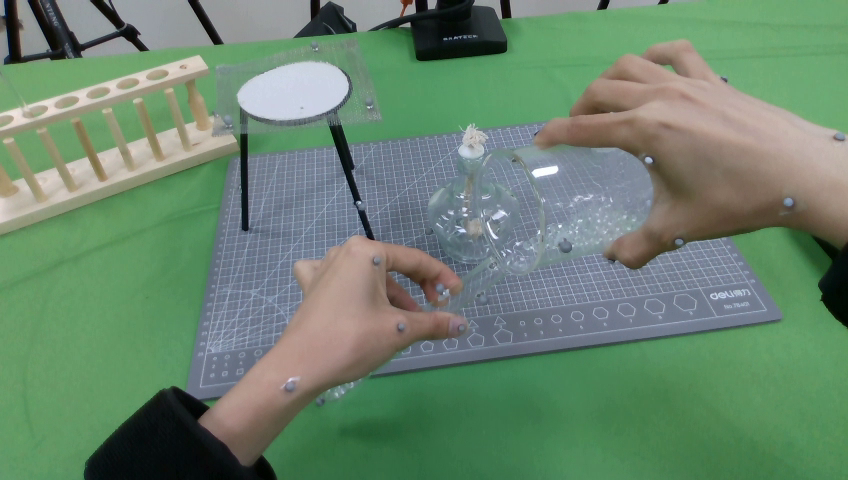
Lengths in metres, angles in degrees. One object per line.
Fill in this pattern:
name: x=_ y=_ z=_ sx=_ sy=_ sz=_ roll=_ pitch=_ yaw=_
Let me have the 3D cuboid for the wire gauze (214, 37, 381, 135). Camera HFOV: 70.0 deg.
wire gauze: x=-0.104 y=-0.122 z=0.479 sx=0.125 sy=0.011 sz=0.120 roll=-11 pitch=45 yaw=-6

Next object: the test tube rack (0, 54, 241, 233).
test tube rack: x=-0.321 y=-0.101 z=0.608 sx=0.242 sy=0.086 sz=0.066 roll=-24 pitch=48 yaw=-20

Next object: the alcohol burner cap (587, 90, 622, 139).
alcohol burner cap: x=0.189 y=-0.133 z=0.631 sx=0.034 sy=0.048 sz=0.033 roll=-2 pitch=44 yaw=2

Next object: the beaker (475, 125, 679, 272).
beaker: x=0.092 y=-0.026 z=0.362 sx=0.100 sy=0.084 sz=0.073 roll=-13 pitch=46 yaw=-20

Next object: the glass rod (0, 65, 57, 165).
glass rod: x=-0.373 y=-0.134 z=0.550 sx=0.008 sy=0.201 sz=0.008 roll=-1 pitch=48 yaw=2

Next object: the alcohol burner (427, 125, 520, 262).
alcohol burner: x=0.040 y=-0.040 z=0.496 sx=0.078 sy=0.120 sz=0.077 roll=-2 pitch=43 yaw=3

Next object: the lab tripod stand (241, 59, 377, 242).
lab tripod stand: x=-0.100 y=-0.075 z=0.527 sx=0.148 sy=0.133 sz=0.147 roll=-2 pitch=46 yaw=3

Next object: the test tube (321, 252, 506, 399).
test tube: x=-0.010 y=0.057 z=0.387 sx=0.150 sy=0.017 sz=0.017 roll=-38 pitch=44 yaw=14
